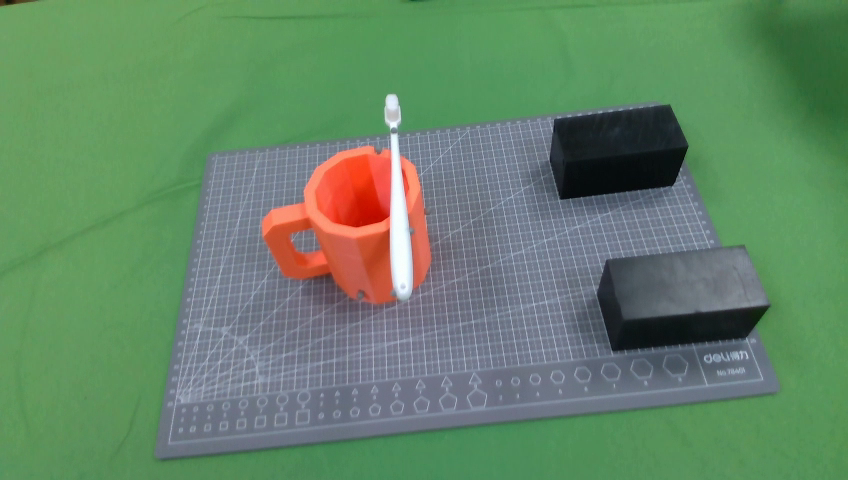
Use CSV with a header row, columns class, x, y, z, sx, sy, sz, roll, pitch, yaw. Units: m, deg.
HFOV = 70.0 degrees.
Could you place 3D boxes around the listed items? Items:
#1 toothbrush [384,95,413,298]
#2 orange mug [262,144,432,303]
class,x,y,z,sx,sy,sz,roll,pitch,yaw
toothbrush,-0.019,-0.039,0.430,0.014,0.017,0.180,1,55,-8
orange mug,-0.058,-0.008,0.476,0.126,0.102,0.082,-11,55,-7
